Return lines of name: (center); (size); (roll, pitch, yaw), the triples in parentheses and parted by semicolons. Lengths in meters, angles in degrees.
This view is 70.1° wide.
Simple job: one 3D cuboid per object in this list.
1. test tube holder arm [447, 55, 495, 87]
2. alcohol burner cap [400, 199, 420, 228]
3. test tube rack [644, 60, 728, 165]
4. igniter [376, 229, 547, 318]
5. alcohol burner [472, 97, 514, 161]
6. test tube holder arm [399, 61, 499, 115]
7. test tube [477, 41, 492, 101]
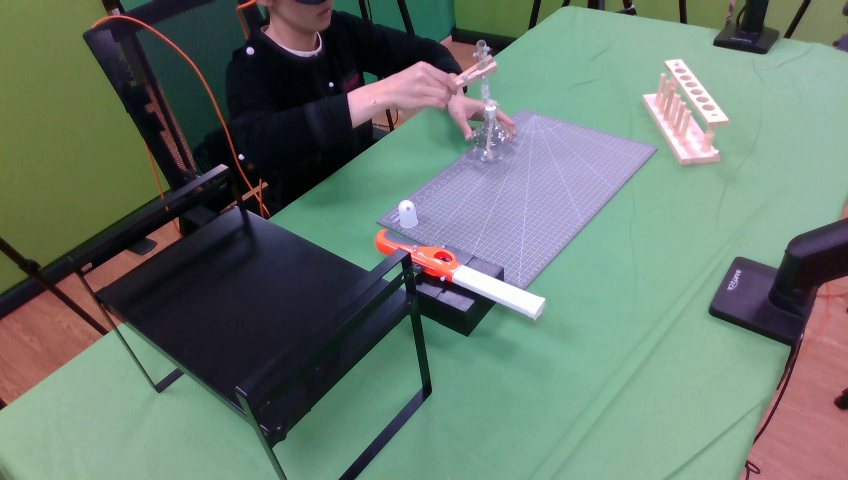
test tube holder arm: (0.078, -0.278, 1.003); (0.088, 0.015, 0.010); (-33, 68, 3)
alcohol burner cap: (-0.025, -0.047, 1.014); (0.034, 0.048, 0.033); (-4, 42, 4)
test tube rack: (0.486, -0.246, 1.140); (0.067, 0.085, 0.241); (-5, 41, 4)
igniter: (0.040, 0.041, 0.845); (0.274, 0.025, 0.057); (22, 46, 27)
alcohol burner: (0.128, -0.208, 1.124); (0.078, 0.119, 0.077); (-5, 39, 4)
test tube holder arm: (0.041, -0.252, 1.005); (0.178, 0.015, 0.013); (-26, 68, 6)
test tube: (0.102, -0.280, 1.014); (0.017, 0.151, 0.017); (-3, 69, 9)
